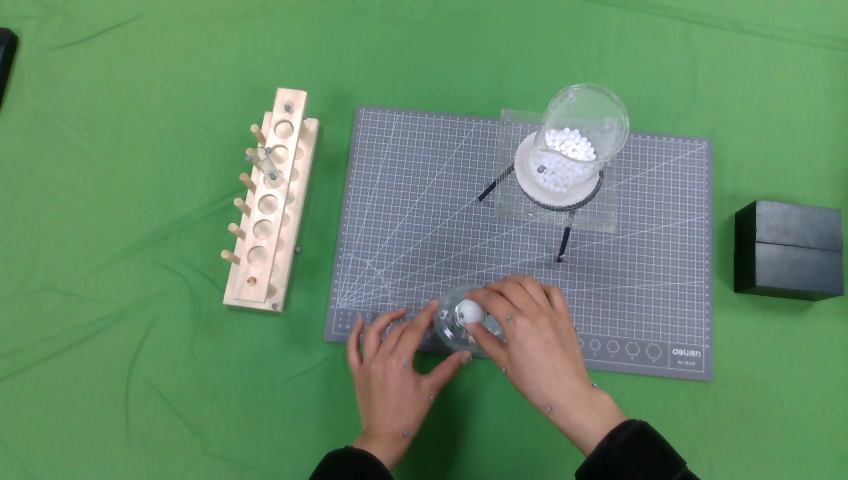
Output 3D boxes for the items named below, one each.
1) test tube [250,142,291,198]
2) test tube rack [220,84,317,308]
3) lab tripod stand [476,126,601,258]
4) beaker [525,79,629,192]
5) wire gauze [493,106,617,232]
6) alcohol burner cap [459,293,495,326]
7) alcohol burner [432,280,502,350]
[{"bbox_3d":[-0.162,-0.071,0.650,0.017,0.150,0.017,1,78,-3],"label":"test tube"},{"bbox_3d":[-0.183,-0.050,0.696,0.067,0.085,0.241,8,77,1],"label":"test tube rack"},{"bbox_3d":[0.137,-0.063,0.677,0.148,0.132,0.147,0,75,0],"label":"lab tripod stand"},{"bbox_3d":[0.135,-0.090,0.566,0.084,0.100,0.073,-27,79,-7],"label":"beaker"},{"bbox_3d":[0.133,-0.075,0.612,0.125,0.011,0.121,7,78,-2],"label":"wire gauze"},{"bbox_3d":[0.052,0.073,0.615,0.034,0.048,0.034,1,92,15],"label":"alcohol burner cap"},{"bbox_3d":[0.048,0.079,0.654,0.078,0.119,0.077,1,77,-2],"label":"alcohol burner"}]
